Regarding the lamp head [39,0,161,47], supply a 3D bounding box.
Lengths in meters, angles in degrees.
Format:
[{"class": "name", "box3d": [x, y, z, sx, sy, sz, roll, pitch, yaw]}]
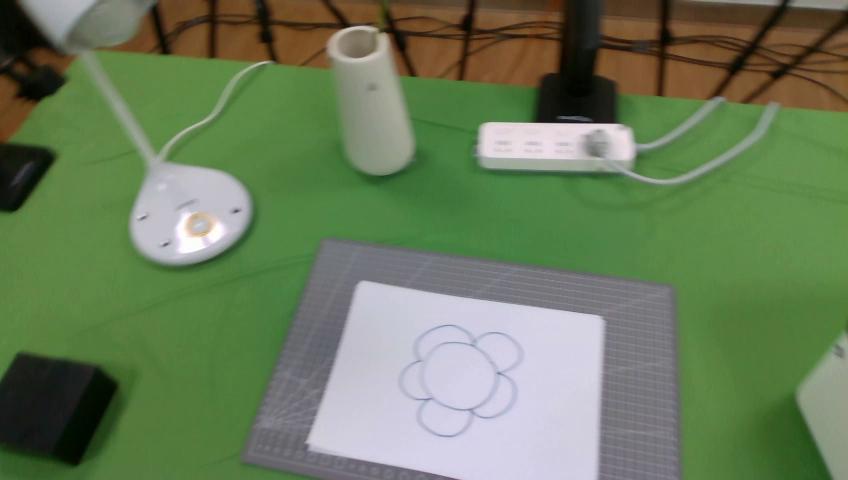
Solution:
[{"class": "lamp head", "box3d": [-0.300, -0.247, 0.525, 0.123, 0.112, 0.112, 48, 65, -11]}]

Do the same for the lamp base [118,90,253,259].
[{"class": "lamp base", "box3d": [-0.328, -0.092, 0.773, 0.160, 0.182, 0.177, -39, 58, -21]}]

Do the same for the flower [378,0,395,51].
[{"class": "flower", "box3d": [-0.053, -0.221, 0.731, 0.044, 0.363, 0.038, -27, 74, -24]}]

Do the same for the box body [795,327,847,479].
[{"class": "box body", "box3d": [0.517, 0.234, 0.494, 0.254, 0.162, 0.360, -7, 55, -1]}]

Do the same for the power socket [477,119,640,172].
[{"class": "power socket", "box3d": [0.189, -0.134, 0.855, 0.226, 0.033, 0.071, 4, 56, 6]}]

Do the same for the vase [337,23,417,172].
[{"class": "vase", "box3d": [-0.065, -0.183, 0.806, 0.098, 0.202, 0.097, -3, 54, 4]}]

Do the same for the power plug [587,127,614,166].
[{"class": "power plug", "box3d": [0.234, -0.119, 0.814, 0.035, 0.053, 0.072, 13, 63, 13]}]
